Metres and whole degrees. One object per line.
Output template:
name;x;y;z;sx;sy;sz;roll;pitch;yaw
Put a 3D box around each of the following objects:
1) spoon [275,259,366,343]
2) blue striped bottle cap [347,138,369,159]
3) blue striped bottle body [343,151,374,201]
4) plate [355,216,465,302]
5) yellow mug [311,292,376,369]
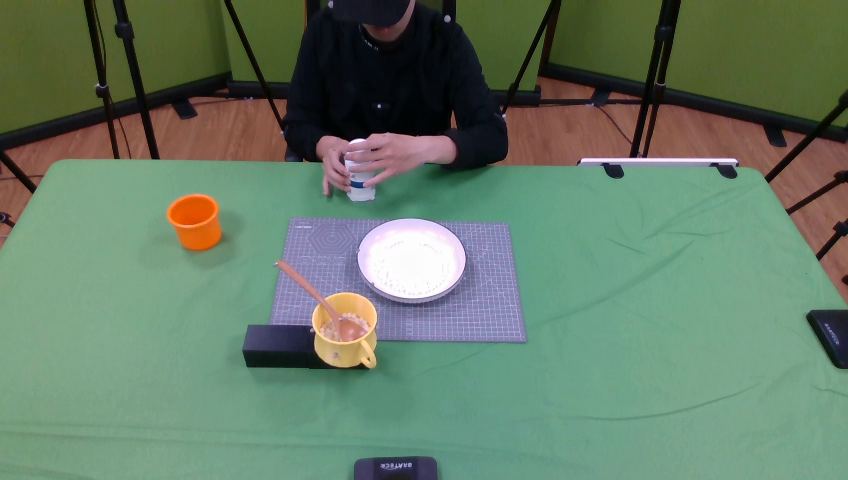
spoon;-0.161;0.098;0.946;0.194;0.021;0.041;48;56;-5
blue striped bottle cap;-0.133;-0.184;1.217;0.044;0.021;0.044;0;50;0
blue striped bottle body;-0.135;-0.145;1.257;0.063;0.121;0.062;3;47;-3
plate;-0.027;0.039;1.144;0.208;0.039;0.206;2;46;-2
yellow mug;-0.115;0.150;0.945;0.100;0.064;0.130;-29;57;-28
